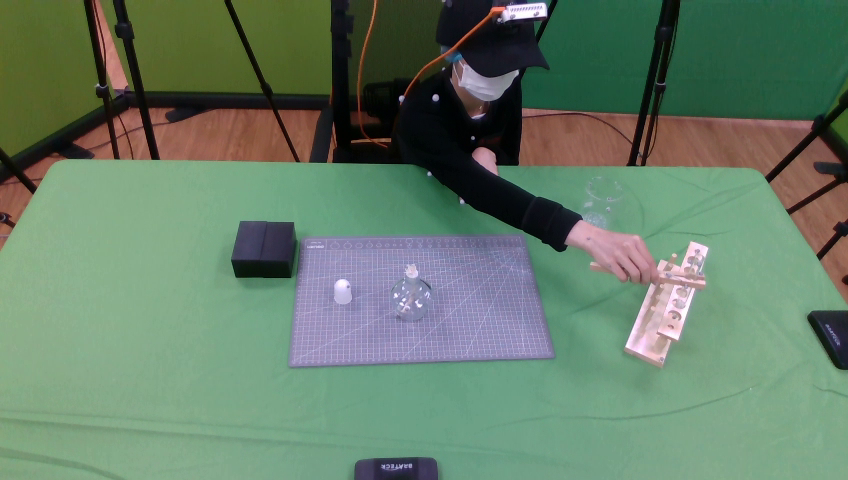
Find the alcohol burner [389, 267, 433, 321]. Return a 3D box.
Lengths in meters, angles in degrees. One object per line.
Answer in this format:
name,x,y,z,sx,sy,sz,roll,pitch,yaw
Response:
alcohol burner,-0.022,0.086,1.047,0.078,0.119,0.077,2,48,-2

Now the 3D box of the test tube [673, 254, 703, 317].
test tube,0.431,0.078,0.995,0.017,0.151,0.017,-2,45,2

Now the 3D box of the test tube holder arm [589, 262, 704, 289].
test tube holder arm,0.363,0.058,0.993,0.178,0.015,0.013,8,43,13

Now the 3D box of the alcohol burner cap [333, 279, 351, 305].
alcohol burner cap,-0.147,0.090,1.083,0.034,0.048,0.033,2,46,-2

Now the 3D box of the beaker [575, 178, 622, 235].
beaker,0.356,-0.068,1.240,0.084,0.101,0.073,-18,50,-21

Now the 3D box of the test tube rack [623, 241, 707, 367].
test tube rack,0.435,0.104,1.089,0.066,0.085,0.242,24,49,18

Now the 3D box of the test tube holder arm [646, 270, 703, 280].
test tube holder arm,0.408,0.059,0.988,0.088,0.015,0.010,3,42,7
